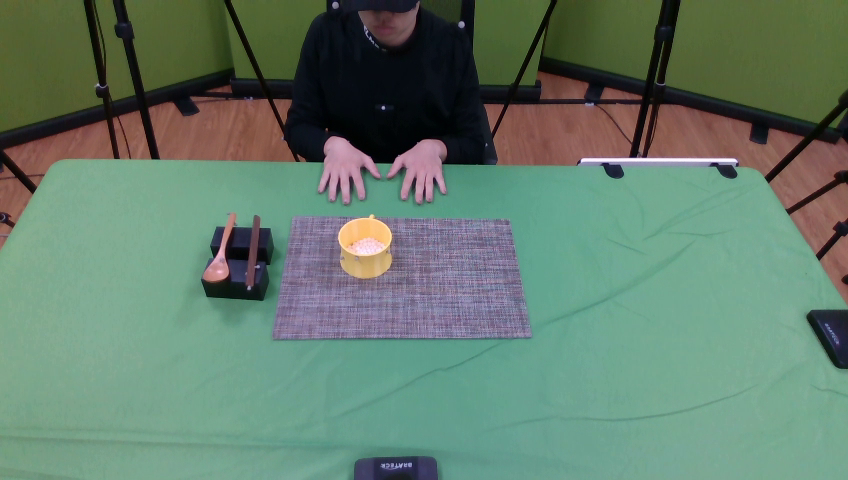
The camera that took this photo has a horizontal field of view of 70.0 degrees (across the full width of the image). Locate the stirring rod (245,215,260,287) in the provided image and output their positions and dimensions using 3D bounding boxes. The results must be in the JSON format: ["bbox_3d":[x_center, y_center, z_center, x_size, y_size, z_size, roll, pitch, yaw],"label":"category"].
[{"bbox_3d":[-0.310,0.016,1.096,0.014,0.006,0.175,28,36,-32],"label":"stirring rod"}]

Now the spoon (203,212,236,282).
[{"bbox_3d":[-0.361,0.009,1.097,0.041,0.022,0.192,0,44,-2],"label":"spoon"}]

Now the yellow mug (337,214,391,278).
[{"bbox_3d":[-0.110,0.003,1.152,0.100,0.064,0.130,7,45,2],"label":"yellow mug"}]
